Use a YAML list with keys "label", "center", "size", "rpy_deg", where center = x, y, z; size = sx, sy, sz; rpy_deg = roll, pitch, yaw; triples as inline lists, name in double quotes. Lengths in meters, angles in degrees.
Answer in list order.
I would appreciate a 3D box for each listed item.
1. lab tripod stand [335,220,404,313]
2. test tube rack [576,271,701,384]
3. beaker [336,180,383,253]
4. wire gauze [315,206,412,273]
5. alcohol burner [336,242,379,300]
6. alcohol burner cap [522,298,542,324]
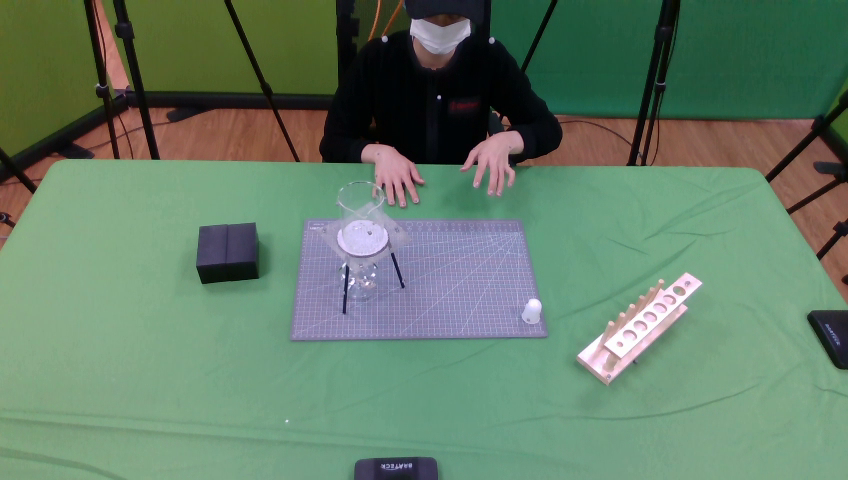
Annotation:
- label: "lab tripod stand"
  center: [-0.110, 0.039, 1.070]
  size: [0.148, 0.132, 0.147]
  rpy_deg: [1, 46, -1]
- label: "test tube rack"
  center: [0.373, 0.138, 1.047]
  size: [0.242, 0.085, 0.066]
  rpy_deg: [-31, 56, -29]
- label: "beaker"
  center: [-0.102, -0.034, 0.981]
  size: [0.074, 0.101, 0.083]
  rpy_deg: [-7, 46, -9]
- label: "wire gauze"
  center: [-0.103, -0.007, 1.024]
  size: [0.121, 0.011, 0.124]
  rpy_deg: [-28, 50, -29]
- label: "alcohol burner"
  center: [-0.118, 0.050, 1.072]
  size: [0.078, 0.120, 0.077]
  rpy_deg: [2, 44, -1]
- label: "alcohol burner cap"
  center: [0.193, 0.124, 1.074]
  size: [0.034, 0.048, 0.033]
  rpy_deg: [1, 46, -1]
